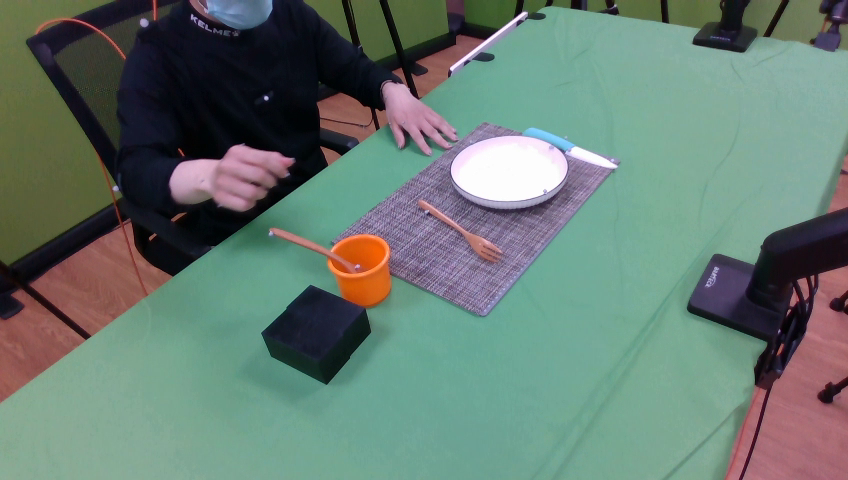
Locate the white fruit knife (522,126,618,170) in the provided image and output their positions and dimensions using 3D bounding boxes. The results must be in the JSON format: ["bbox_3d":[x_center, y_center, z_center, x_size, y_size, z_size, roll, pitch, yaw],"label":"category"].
[{"bbox_3d":[0.272,-0.172,1.132,0.205,0.016,0.027,32,82,34],"label":"white fruit knife"}]

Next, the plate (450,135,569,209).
[{"bbox_3d":[0.149,-0.117,1.065,0.209,0.038,0.208,-3,41,3],"label":"plate"}]

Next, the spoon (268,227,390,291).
[{"bbox_3d":[-0.132,0.025,0.862,0.021,0.195,0.041,-39,32,34],"label":"spoon"}]

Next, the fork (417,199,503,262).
[{"bbox_3d":[0.053,-0.021,0.981,0.019,0.028,0.205,1,26,-41],"label":"fork"}]
